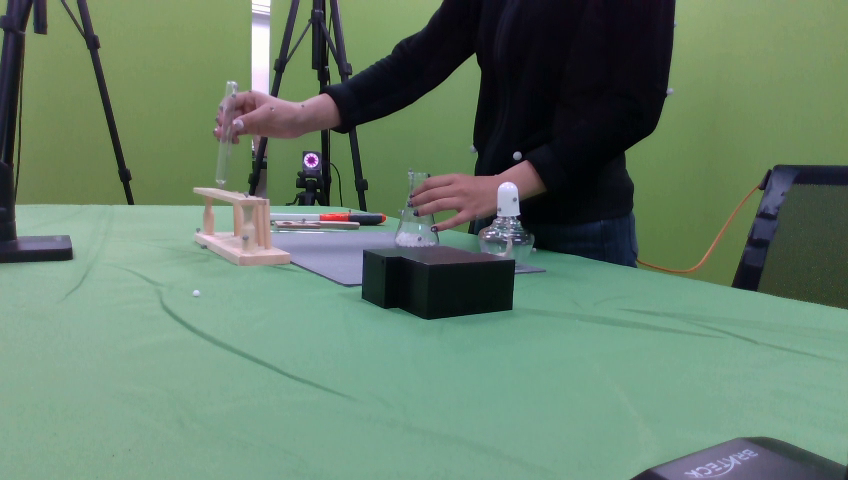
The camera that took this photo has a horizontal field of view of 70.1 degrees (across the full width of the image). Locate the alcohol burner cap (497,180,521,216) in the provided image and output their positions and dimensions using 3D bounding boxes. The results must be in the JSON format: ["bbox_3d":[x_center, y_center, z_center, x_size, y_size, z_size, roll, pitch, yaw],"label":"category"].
[{"bbox_3d":[0.113,-0.056,0.809,0.034,0.048,0.034,-4,11,1],"label":"alcohol burner cap"}]

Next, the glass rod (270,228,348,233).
[{"bbox_3d":[-0.235,-0.017,1.104,0.201,0.008,0.008,1,7,-26],"label":"glass rod"}]

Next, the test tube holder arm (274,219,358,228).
[{"bbox_3d":[-0.206,-0.031,1.176,0.179,0.015,0.013,-4,46,-40],"label":"test tube holder arm"}]

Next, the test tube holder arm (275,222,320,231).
[{"bbox_3d":[-0.239,-0.026,1.144,0.088,0.015,0.010,-2,45,-38],"label":"test tube holder arm"}]

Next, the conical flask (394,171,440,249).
[{"bbox_3d":[-0.010,-0.050,0.969,0.075,0.122,0.075,2,7,0],"label":"conical flask"}]

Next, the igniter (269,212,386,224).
[{"bbox_3d":[-0.214,-0.047,1.278,0.278,0.025,0.057,-1,-2,-25],"label":"igniter"}]

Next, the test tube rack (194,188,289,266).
[{"bbox_3d":[-0.266,-0.025,0.863,0.067,0.085,0.241,-2,9,-33],"label":"test tube rack"}]

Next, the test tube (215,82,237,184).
[{"bbox_3d":[-0.291,-0.157,0.888,0.017,0.150,0.017,7,2,0],"label":"test tube"}]

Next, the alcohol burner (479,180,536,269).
[{"bbox_3d":[0.113,-0.021,0.815,0.078,0.119,0.078,2,9,0],"label":"alcohol burner"}]
